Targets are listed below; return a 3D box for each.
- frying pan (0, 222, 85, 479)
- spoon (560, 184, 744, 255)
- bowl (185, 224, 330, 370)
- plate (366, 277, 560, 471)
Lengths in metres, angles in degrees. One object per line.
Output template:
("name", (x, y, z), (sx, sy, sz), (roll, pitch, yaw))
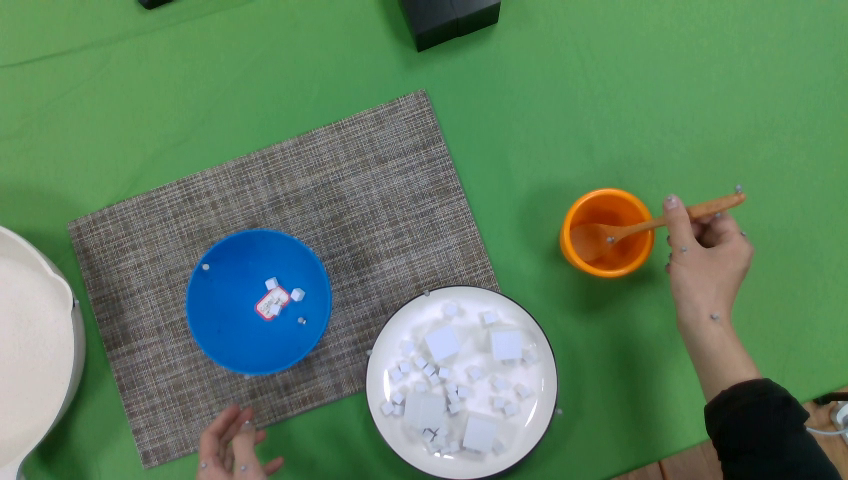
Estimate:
("frying pan", (-0.472, 0.208, 0.650), (0.307, 0.103, 0.485), (-25, 77, 1))
("spoon", (0.223, -0.020, 0.615), (0.022, 0.193, 0.041), (-15, 87, -44))
("bowl", (-0.169, 0.061, 0.657), (0.151, 0.077, 0.151), (0, 86, 2))
("plate", (0.041, 0.144, 0.664), (0.207, 0.039, 0.207), (0, 88, 2))
